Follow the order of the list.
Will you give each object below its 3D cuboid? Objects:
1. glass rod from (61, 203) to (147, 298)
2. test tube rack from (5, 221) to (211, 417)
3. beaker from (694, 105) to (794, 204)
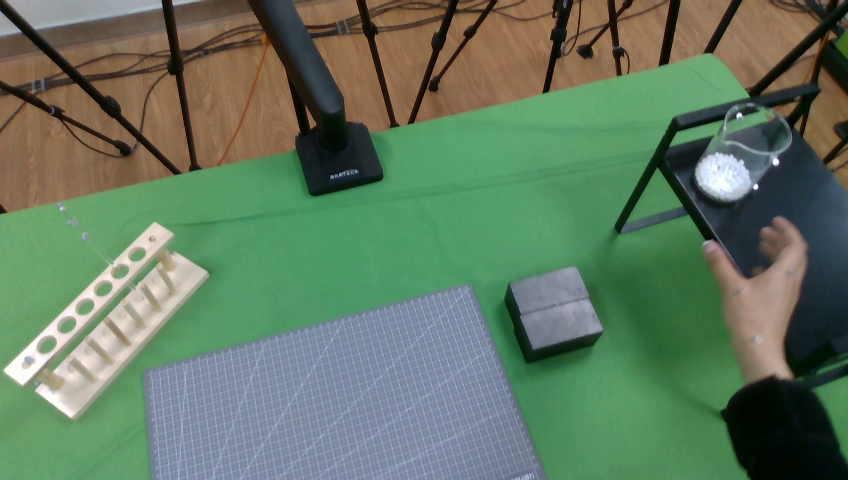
[{"bbox_3d":[-0.389,0.019,0.746,0.008,0.201,0.008,-2,54,4],"label":"glass rod"},{"bbox_3d":[-0.392,0.097,0.777,0.066,0.086,0.241,29,62,15],"label":"test tube rack"},{"bbox_3d":[0.368,-0.096,0.711,0.084,0.101,0.073,-16,61,-11],"label":"beaker"}]
